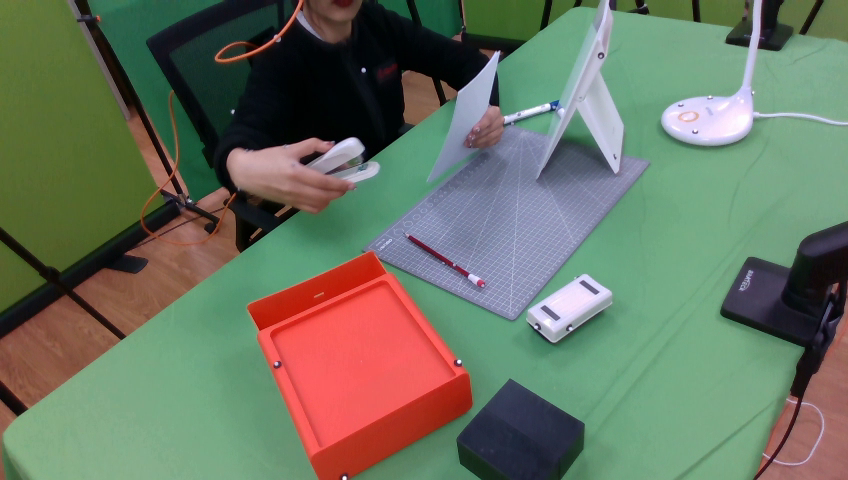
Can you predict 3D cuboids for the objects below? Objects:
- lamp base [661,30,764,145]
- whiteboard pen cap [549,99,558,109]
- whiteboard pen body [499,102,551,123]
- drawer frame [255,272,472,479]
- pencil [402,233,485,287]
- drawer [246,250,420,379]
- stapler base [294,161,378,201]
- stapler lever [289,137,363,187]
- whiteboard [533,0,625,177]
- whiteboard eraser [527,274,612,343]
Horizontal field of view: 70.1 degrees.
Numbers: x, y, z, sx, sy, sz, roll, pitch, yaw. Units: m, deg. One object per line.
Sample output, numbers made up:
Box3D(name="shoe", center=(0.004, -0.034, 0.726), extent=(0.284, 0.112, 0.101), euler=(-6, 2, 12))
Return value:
Box3D(name="lamp base", center=(0.535, -0.287, 1.096), extent=(0.179, 0.181, 0.159), euler=(-10, 40, -4))
Box3D(name="whiteboard pen cap", center=(0.275, -0.286, 1.267), extent=(0.033, 0.018, 0.018), euler=(-17, 41, -12))
Box3D(name="whiteboard pen body", center=(0.221, -0.268, 1.257), extent=(0.141, 0.017, 0.017), euler=(-19, 41, -12))
Box3D(name="drawer frame", center=(-0.079, 0.161, 0.760), extent=(0.202, 0.083, 0.211), euler=(-24, 43, -18))
Box3D(name="pencil", center=(0.026, 0.028, 0.949), extent=(0.012, 0.012, 0.192), euler=(-34, 44, -26))
Box3D(name="drawer", center=(-0.108, 0.129, 0.805), extent=(0.195, 0.073, 0.210), euler=(-23, 43, -18))
Box3D(name="stapler base", center=(-0.131, -0.092, 0.870), extent=(0.130, 0.024, 0.041), euler=(-17, 26, 15))
Box3D(name="stapler lever", center=(-0.142, -0.111, 0.858), extent=(0.118, 0.040, 0.027), euler=(-17, 27, 15))
Box3D(name="whiteboard", center=(0.321, -0.258, 1.049), extent=(0.144, 0.306, 0.217), euler=(20, 45, 4))
Box3D(name="whiteboard eraser", center=(0.198, 0.094, 0.820), extent=(0.113, 0.042, 0.055), euler=(-29, 43, -22))
